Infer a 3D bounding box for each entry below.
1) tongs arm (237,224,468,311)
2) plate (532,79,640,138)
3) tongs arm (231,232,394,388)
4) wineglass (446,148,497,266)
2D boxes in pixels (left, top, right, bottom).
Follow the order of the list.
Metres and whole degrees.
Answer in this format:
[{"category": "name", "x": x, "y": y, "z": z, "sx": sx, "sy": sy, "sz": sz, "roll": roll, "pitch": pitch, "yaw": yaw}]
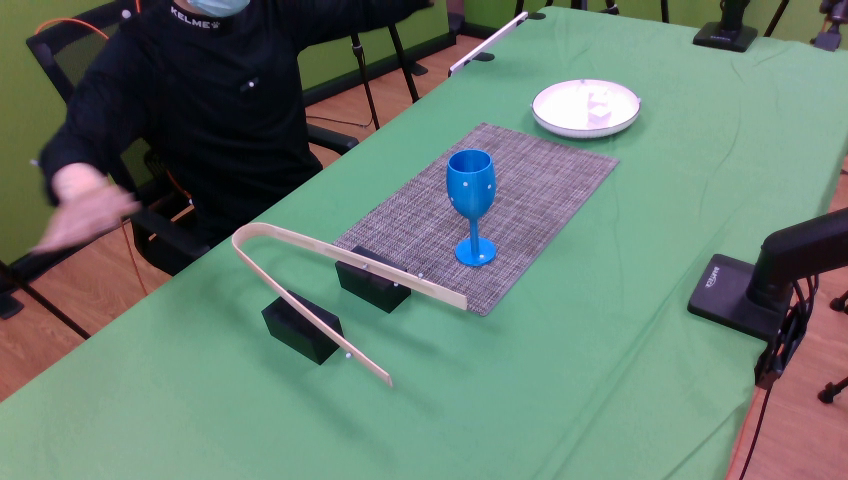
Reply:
[{"category": "tongs arm", "x": -0.115, "y": 0.039, "z": 0.862, "sx": 0.382, "sy": 0.026, "sz": 0.051, "roll": 20, "pitch": 49, "yaw": 28}, {"category": "plate", "x": 0.322, "y": -0.259, "z": 1.212, "sx": 0.209, "sy": 0.038, "sz": 0.208, "roll": -4, "pitch": 40, "yaw": 4}, {"category": "tongs arm", "x": -0.166, "y": 0.084, "z": 0.817, "sx": 0.028, "sy": 0.028, "sz": 0.384, "roll": -39, "pitch": 49, "yaw": -24}, {"category": "wineglass", "x": 0.072, "y": -0.046, "z": 0.889, "sx": 0.074, "sy": 0.173, "sz": 0.073, "roll": -4, "pitch": 41, "yaw": 4}]
